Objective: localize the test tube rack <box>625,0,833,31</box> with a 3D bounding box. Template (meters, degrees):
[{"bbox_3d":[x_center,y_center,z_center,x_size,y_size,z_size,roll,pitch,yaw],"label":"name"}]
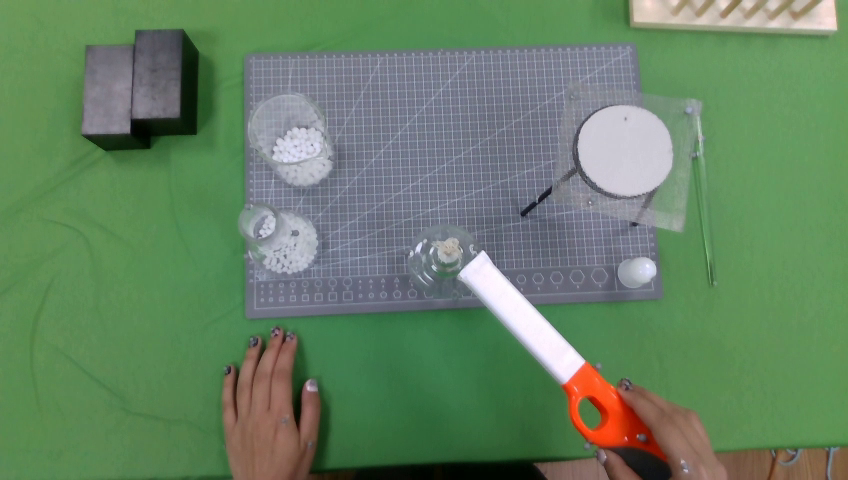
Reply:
[{"bbox_3d":[0.360,-0.291,0.682,0.242,0.085,0.066,1,80,-2],"label":"test tube rack"}]

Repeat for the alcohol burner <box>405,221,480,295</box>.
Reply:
[{"bbox_3d":[0.019,0.015,0.604,0.078,0.119,0.077,0,81,0],"label":"alcohol burner"}]

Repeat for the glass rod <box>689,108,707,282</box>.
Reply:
[{"bbox_3d":[0.309,-0.052,0.682,0.008,0.008,0.199,-1,84,-3],"label":"glass rod"}]

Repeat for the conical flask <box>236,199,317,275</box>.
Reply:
[{"bbox_3d":[-0.150,-0.008,0.596,0.075,0.122,0.075,0,81,-2],"label":"conical flask"}]

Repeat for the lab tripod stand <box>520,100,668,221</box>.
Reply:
[{"bbox_3d":[0.174,-0.072,0.613,0.148,0.132,0.148,0,82,-1],"label":"lab tripod stand"}]

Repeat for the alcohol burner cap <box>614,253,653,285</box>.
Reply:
[{"bbox_3d":[0.226,0.029,0.646,0.034,0.048,0.033,0,80,-2],"label":"alcohol burner cap"}]

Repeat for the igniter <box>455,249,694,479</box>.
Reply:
[{"bbox_3d":[0.130,0.119,0.512,0.057,0.025,0.276,-42,87,-16],"label":"igniter"}]

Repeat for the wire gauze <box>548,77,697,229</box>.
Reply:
[{"bbox_3d":[0.179,-0.081,0.547,0.125,0.011,0.121,12,82,0],"label":"wire gauze"}]

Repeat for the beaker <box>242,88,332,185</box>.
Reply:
[{"bbox_3d":[-0.132,-0.099,0.623,0.084,0.100,0.074,34,81,3],"label":"beaker"}]
